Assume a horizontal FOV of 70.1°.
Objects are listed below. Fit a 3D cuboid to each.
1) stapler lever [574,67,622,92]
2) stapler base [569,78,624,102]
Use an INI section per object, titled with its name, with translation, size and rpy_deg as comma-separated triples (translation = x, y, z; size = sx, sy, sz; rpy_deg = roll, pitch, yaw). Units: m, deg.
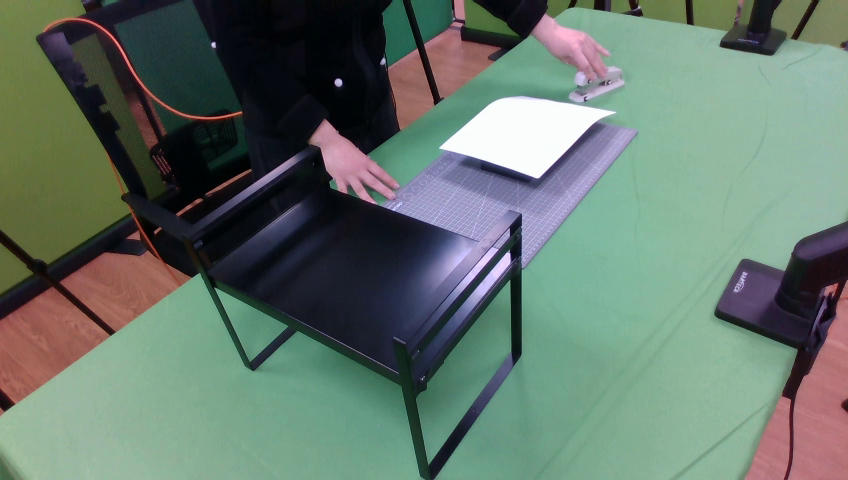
[stapler lever]
translation = 0.372, -0.351, 1.293
size = 0.118, 0.040, 0.026
rpy_deg = -25, 45, -19
[stapler base]
translation = 0.373, -0.332, 1.308
size = 0.131, 0.024, 0.041
rpy_deg = -24, 45, -20
